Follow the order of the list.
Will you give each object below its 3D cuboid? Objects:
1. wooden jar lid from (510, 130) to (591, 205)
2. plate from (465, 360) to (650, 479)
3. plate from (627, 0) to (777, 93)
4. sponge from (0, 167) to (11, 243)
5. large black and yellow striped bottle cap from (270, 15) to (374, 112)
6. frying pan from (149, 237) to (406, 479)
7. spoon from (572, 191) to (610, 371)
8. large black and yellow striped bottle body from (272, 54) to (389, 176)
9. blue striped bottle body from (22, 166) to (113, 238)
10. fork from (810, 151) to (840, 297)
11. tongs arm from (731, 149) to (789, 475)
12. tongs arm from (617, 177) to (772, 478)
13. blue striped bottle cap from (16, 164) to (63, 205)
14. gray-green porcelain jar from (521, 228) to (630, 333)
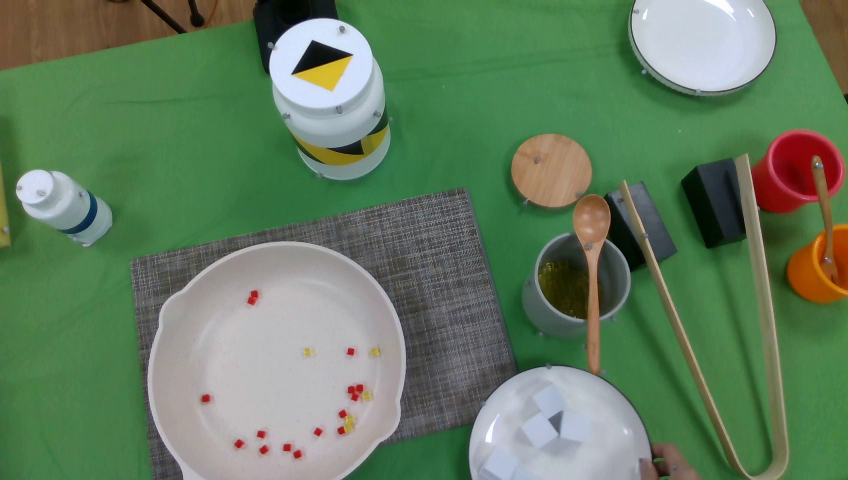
[{"bbox_3d":[0.170,-0.097,0.819,0.108,0.021,0.108,0,75,0],"label":"wooden jar lid"},{"bbox_3d":[0.152,0.244,0.704,0.207,0.039,0.206,-1,78,4],"label":"plate"},{"bbox_3d":[0.392,-0.300,0.868,0.209,0.038,0.208,0,74,0],"label":"plate"},{"bbox_3d":[-0.632,-0.085,0.793,0.118,0.061,0.205,-17,75,-6],"label":"sponge"},{"bbox_3d":[-0.113,-0.198,0.676,0.115,0.019,0.114,0,75,0],"label":"large black and yellow striped bottle cap"},{"bbox_3d":[-0.214,0.227,0.678,0.306,0.103,0.486,27,67,8],"label":"frying pan"},{"bbox_3d":[0.180,0.042,0.651,0.041,0.022,0.193,3,78,0],"label":"spoon"},{"bbox_3d":[-0.113,-0.173,0.756,0.131,0.185,0.130,0,73,0],"label":"large black and yellow striped bottle body"},{"bbox_3d":[-0.446,-0.049,0.752,0.063,0.121,0.062,0,73,1],"label":"blue striped bottle body"},{"bbox_3d":[0.481,-0.016,0.728,0.028,0.018,0.209,-26,119,1],"label":"fork"},{"bbox_3d":[0.401,0.081,0.731,0.028,0.028,0.386,-3,84,-9],"label":"tongs arm"},{"bbox_3d":[0.320,0.099,0.725,0.051,0.026,0.383,-17,85,-7],"label":"tongs arm"},{"bbox_3d":[-0.447,-0.065,0.703,0.044,0.021,0.044,0,75,-1],"label":"blue striped bottle cap"},{"bbox_3d":[0.173,0.053,0.720,0.106,0.127,0.105,0,73,0],"label":"gray-green porcelain jar"}]
